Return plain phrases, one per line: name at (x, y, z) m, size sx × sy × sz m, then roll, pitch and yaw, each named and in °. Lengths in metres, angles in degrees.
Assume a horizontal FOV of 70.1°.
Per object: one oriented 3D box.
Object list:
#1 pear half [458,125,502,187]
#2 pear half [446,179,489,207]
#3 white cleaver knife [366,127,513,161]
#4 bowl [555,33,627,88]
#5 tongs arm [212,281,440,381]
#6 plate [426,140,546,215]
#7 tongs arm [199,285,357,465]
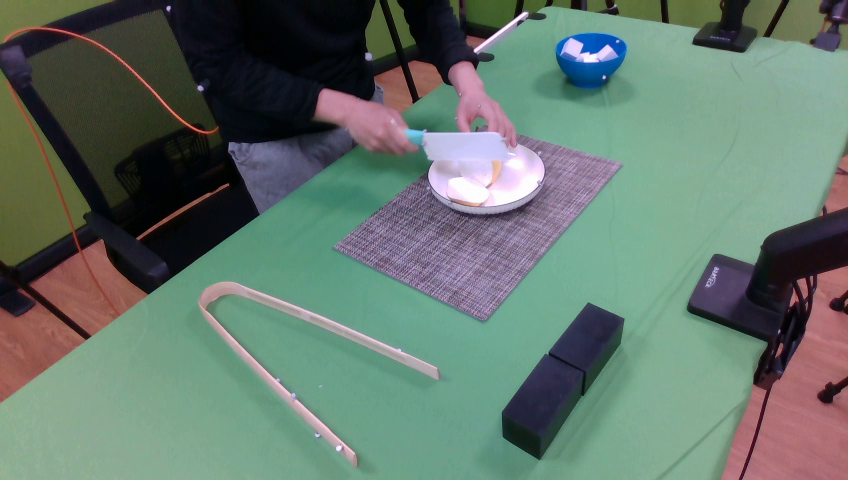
pear half at (0.100, -0.152, 1.042) m, size 0.076 × 0.110 × 0.056 m, roll 15°, pitch 40°, yaw 23°
pear half at (0.068, -0.073, 1.018) m, size 0.070 × 0.031 × 0.088 m, roll 33°, pitch 37°, yaw 33°
white cleaver knife at (0.015, -0.157, 1.003) m, size 0.284 × 0.066 × 0.021 m, roll 10°, pitch 51°, yaw 36°
bowl at (0.360, -0.384, 1.318) m, size 0.151 × 0.077 × 0.150 m, roll -4°, pitch 41°, yaw 4°
tongs arm at (-0.148, 0.121, 0.846) m, size 0.385 × 0.028 × 0.028 m, roll 17°, pitch 48°, yaw 25°
plate at (0.109, -0.106, 1.058) m, size 0.207 × 0.039 × 0.206 m, roll -4°, pitch 41°, yaw 4°
tongs arm at (-0.199, 0.162, 0.797) m, size 0.381 × 0.026 × 0.051 m, roll 28°, pitch 50°, yaw 35°
